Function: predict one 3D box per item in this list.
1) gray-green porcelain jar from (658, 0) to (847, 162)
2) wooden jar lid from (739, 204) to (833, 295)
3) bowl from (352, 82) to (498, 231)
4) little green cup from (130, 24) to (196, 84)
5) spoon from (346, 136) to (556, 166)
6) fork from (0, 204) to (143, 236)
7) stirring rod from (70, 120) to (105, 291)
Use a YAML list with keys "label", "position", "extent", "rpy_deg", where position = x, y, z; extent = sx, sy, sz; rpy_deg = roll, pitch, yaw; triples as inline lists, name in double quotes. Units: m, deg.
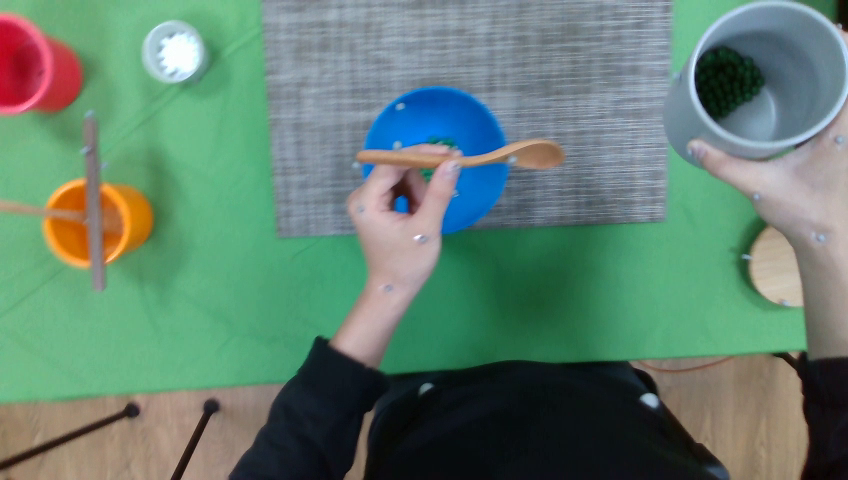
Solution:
- label: "gray-green porcelain jar"
  position: [0.246, -0.121, 0.476]
  extent: [0.105, 0.127, 0.105]
  rpy_deg: [0, 87, 10]
- label: "wooden jar lid"
  position: [0.420, 0.011, 0.708]
  extent: [0.108, 0.020, 0.108]
  rpy_deg: [0, 99, 0]
- label: "bowl"
  position: [0.001, -0.088, 0.653]
  extent: [0.151, 0.076, 0.151]
  rpy_deg: [0, 98, 0]
- label: "little green cup"
  position: [-0.279, -0.198, 0.656]
  extent: [0.061, 0.038, 0.061]
  rpy_deg: [0, 99, 0]
- label: "spoon"
  position: [0.029, -0.067, 0.475]
  extent: [0.194, 0.041, 0.021]
  rpy_deg: [-9, 75, -35]
- label: "fork"
  position: [-0.399, -0.028, 0.624]
  extent: [0.209, 0.018, 0.028]
  rpy_deg: [9, 103, -46]
- label: "stirring rod"
  position: [-0.345, -0.033, 0.621]
  extent: [0.014, 0.006, 0.176]
  rpy_deg: [-2, 99, 1]
